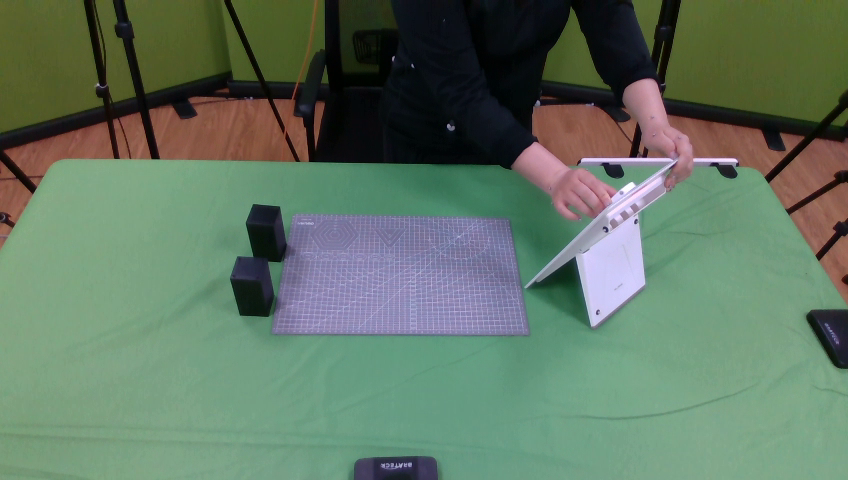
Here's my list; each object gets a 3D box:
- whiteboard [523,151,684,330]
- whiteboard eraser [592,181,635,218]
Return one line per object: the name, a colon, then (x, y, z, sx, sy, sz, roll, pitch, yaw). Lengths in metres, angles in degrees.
whiteboard: (0.346, 0.024, 1.047, 0.217, 0.306, 0.143, -30, 73, -30)
whiteboard eraser: (0.316, -0.063, 1.007, 0.041, 0.101, 0.019, -26, 71, -34)
